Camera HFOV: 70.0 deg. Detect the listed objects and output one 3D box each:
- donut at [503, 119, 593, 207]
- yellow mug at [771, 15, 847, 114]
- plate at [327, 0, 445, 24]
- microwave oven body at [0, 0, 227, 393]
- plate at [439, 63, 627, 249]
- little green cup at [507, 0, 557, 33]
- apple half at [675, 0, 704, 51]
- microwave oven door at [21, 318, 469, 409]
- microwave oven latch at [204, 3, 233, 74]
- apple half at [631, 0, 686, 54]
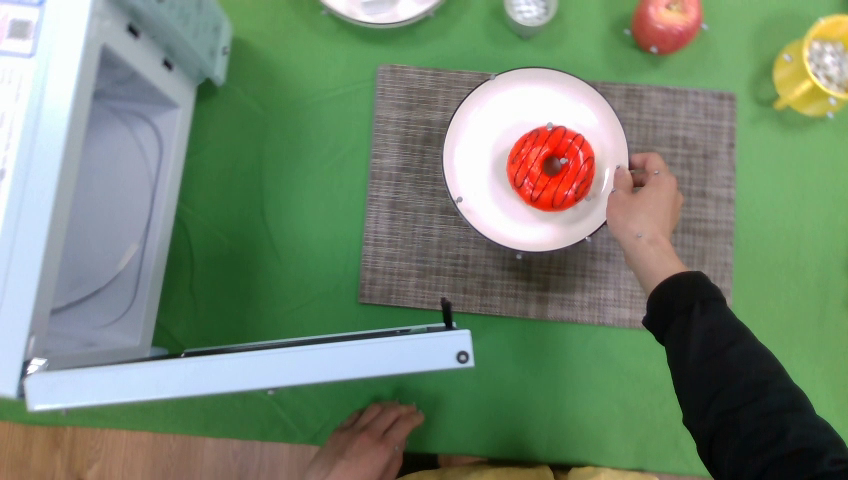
[{"bbox_3d":[0.136,-0.084,0.668,0.099,0.048,0.099,0,87,1],"label":"donut"},{"bbox_3d":[0.479,-0.202,0.735,0.131,0.064,0.100,-37,86,-3],"label":"yellow mug"},{"bbox_3d":[-0.047,-0.366,0.759,0.208,0.039,0.207,0,84,-1],"label":"plate"},{"bbox_3d":[-0.421,-0.100,0.614,0.326,0.260,0.440,8,85,0],"label":"microwave oven body"},{"bbox_3d":[0.120,-0.092,0.680,0.209,0.038,0.208,0,85,0],"label":"plate"},{"bbox_3d":[0.131,-0.290,0.754,0.061,0.039,0.061,0,84,0],"label":"little green cup"},{"bbox_3d":[0.319,-0.270,0.736,0.033,0.081,0.081,-4,84,4],"label":"apple half"},{"bbox_3d":[-0.139,0.112,0.592,0.356,0.244,0.039,-6,83,-1],"label":"microwave oven door"},{"bbox_3d":[-0.250,-0.243,0.726,0.030,0.029,0.079,10,85,0],"label":"microwave oven latch"},{"bbox_3d":[0.280,-0.268,0.737,0.053,0.075,0.080,-3,88,4],"label":"apple half"}]
